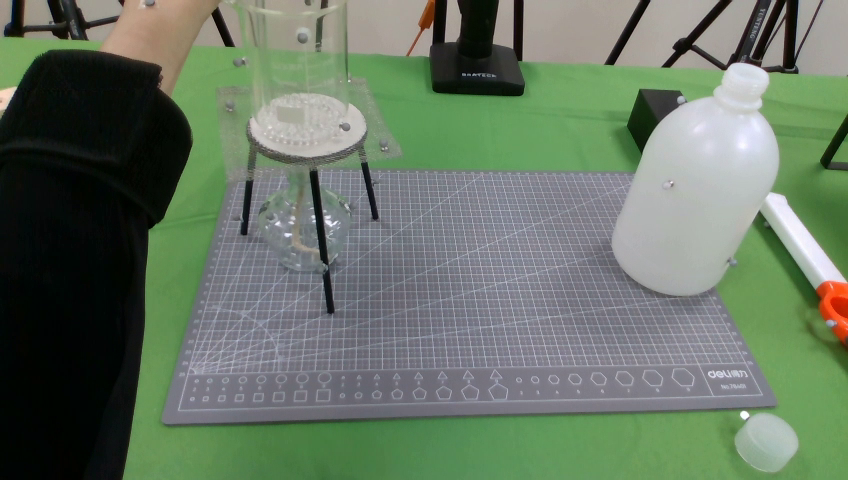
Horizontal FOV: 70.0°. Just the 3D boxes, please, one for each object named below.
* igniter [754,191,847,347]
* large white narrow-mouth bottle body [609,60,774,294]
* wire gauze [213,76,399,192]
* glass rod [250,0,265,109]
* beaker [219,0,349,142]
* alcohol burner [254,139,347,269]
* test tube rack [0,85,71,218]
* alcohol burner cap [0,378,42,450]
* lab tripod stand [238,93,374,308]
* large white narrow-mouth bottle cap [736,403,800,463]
[{"bbox_3d":[0.362,0.048,0.536,0.057,0.025,0.273,9,42,-12],"label":"igniter"},{"bbox_3d":[0.225,-0.052,0.501,0.102,0.196,0.101,2,43,-2],"label":"large white narrow-mouth bottle body"},{"bbox_3d":[-0.092,-0.088,0.454,0.122,0.011,0.123,-11,49,-14],"label":"wire gauze"},{"bbox_3d":[-0.112,-0.178,0.395,0.008,0.201,0.008,5,38,-4],"label":"glass rod"},{"bbox_3d":[-0.093,-0.126,0.422,0.084,0.101,0.073,-4,45,-11],"label":"beaker"},{"bbox_3d":[-0.103,-0.033,0.505,0.078,0.120,0.077,5,41,-4],"label":"alcohol burner"},{"bbox_3d":[-0.444,-0.042,0.502,0.242,0.086,0.066,-32,54,-34],"label":"test tube rack"},{"bbox_3d":[-0.272,0.109,0.390,0.034,0.048,0.033,5,42,-4],"label":"alcohol burner cap"},{"bbox_3d":[-0.093,-0.039,0.497,0.148,0.132,0.147,4,43,-4],"label":"lab tripod stand"},{"bbox_3d":[0.245,0.138,0.432,0.038,0.024,0.037,3,43,-2],"label":"large white narrow-mouth bottle cap"}]
